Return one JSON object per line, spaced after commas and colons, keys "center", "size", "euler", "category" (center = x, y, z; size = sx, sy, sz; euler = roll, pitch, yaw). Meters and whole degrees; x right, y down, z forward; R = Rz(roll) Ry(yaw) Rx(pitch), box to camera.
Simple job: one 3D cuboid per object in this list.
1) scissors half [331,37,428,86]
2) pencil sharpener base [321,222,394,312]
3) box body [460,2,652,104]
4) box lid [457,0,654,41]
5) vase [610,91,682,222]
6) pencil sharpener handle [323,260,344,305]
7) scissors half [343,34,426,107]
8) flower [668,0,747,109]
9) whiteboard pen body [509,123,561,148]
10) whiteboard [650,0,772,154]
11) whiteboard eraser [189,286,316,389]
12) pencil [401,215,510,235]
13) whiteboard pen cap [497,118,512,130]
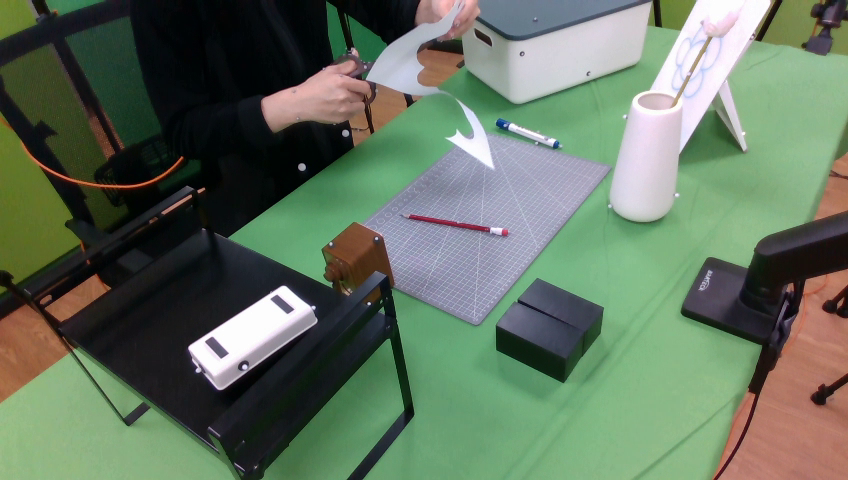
{"center": [-0.069, -0.270, 0.900], "size": [0.174, 0.040, 0.013], "euler": [-11, 28, 27], "category": "scissors half"}
{"center": [-0.096, 0.041, 0.873], "size": [0.061, 0.107, 0.077], "euler": [26, 54, 32], "category": "pencil sharpener base"}
{"center": [0.291, -0.465, 1.371], "size": [0.365, 0.161, 0.252], "euler": [-22, 42, -16], "category": "box body"}
{"center": [0.285, -0.522, 1.323], "size": [0.373, 0.015, 0.261], "euler": [-22, 43, -16], "category": "box lid"}
{"center": [0.348, -0.125, 0.935], "size": [0.098, 0.201, 0.097], "euler": [-3, 40, 3], "category": "vase"}
{"center": [-0.131, 0.062, 0.839], "size": [0.035, 0.068, 0.031], "euler": [29, 55, 28], "category": "pencil sharpener handle"}
{"center": [-0.058, -0.253, 0.906], "size": [0.174, 0.040, 0.013], "euler": [-34, 11, 35], "category": "scissors half"}
{"center": [0.354, -0.187, 0.879], "size": [0.038, 0.362, 0.044], "euler": [30, 48, 14], "category": "flower"}
{"center": [0.209, -0.211, 1.195], "size": [0.139, 0.017, 0.017], "euler": [30, 52, 33], "category": "whiteboard pen body"}
{"center": [0.543, -0.298, 1.076], "size": [0.144, 0.305, 0.216], "euler": [12, 40, -7], "category": "whiteboard"}
{"center": [-0.166, 0.096, 0.593], "size": [0.113, 0.042, 0.055], "euler": [-36, 47, -29], "category": "whiteboard eraser"}
{"center": [0.049, -0.027, 1.007], "size": [0.193, 0.012, 0.012], "euler": [10, 43, 21], "category": "pencil"}
{"center": [0.165, -0.235, 1.227], "size": [0.033, 0.018, 0.018], "euler": [31, 53, 31], "category": "whiteboard pen cap"}
